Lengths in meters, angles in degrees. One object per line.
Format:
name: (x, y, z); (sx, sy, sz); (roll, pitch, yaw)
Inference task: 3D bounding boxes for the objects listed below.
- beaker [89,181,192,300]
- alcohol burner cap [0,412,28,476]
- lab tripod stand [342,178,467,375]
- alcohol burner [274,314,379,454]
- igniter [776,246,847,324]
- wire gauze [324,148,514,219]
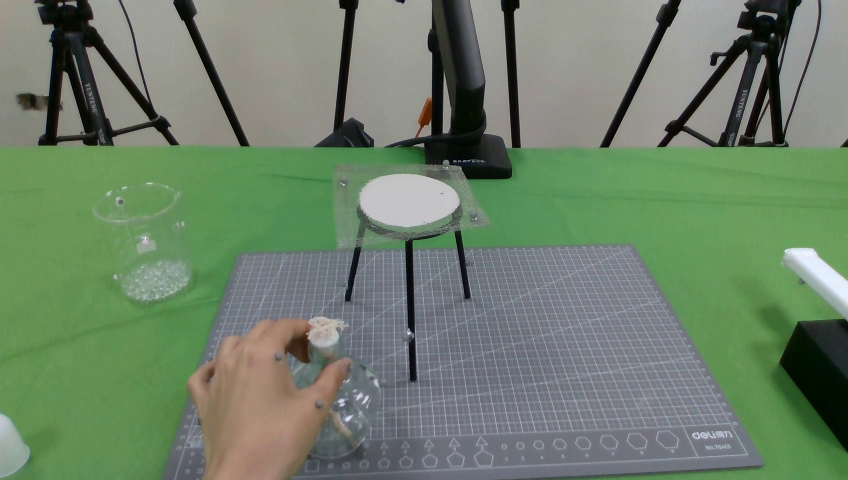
beaker: (-0.273, 0.001, 0.601); (0.084, 0.101, 0.073); (-27, 44, -36)
alcohol burner cap: (-0.314, 0.145, 0.439); (0.034, 0.048, 0.033); (3, 33, -1)
lab tripod stand: (-0.014, 0.024, 0.543); (0.148, 0.132, 0.147); (3, 35, -1)
alcohol burner: (-0.072, 0.101, 0.446); (0.078, 0.120, 0.077); (3, 33, -2)
igniter: (0.378, 0.084, 0.489); (0.057, 0.025, 0.274); (-1, 31, -5)
wire gauze: (-0.007, -0.048, 0.500); (0.125, 0.011, 0.120); (-10, 31, -28)
